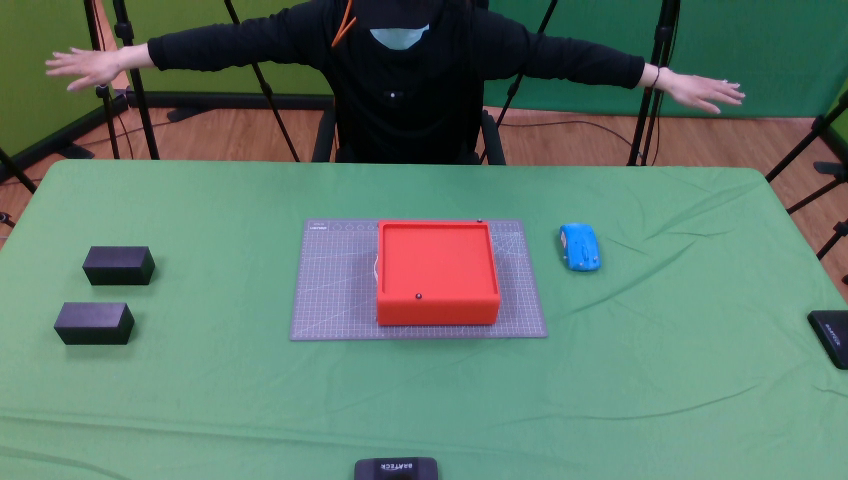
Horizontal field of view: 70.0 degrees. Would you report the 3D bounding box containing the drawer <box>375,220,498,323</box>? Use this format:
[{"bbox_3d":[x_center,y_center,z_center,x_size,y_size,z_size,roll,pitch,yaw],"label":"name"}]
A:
[{"bbox_3d":[0.017,0.054,1.098,0.212,0.073,0.193,1,46,-4],"label":"drawer"}]

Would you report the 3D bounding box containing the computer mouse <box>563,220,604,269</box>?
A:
[{"bbox_3d":[0.314,0.006,1.196,0.063,0.041,0.116,1,51,-5],"label":"computer mouse"}]

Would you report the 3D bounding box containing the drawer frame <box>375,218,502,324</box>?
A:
[{"bbox_3d":[0.020,0.053,1.097,0.214,0.083,0.200,0,46,-4],"label":"drawer frame"}]
